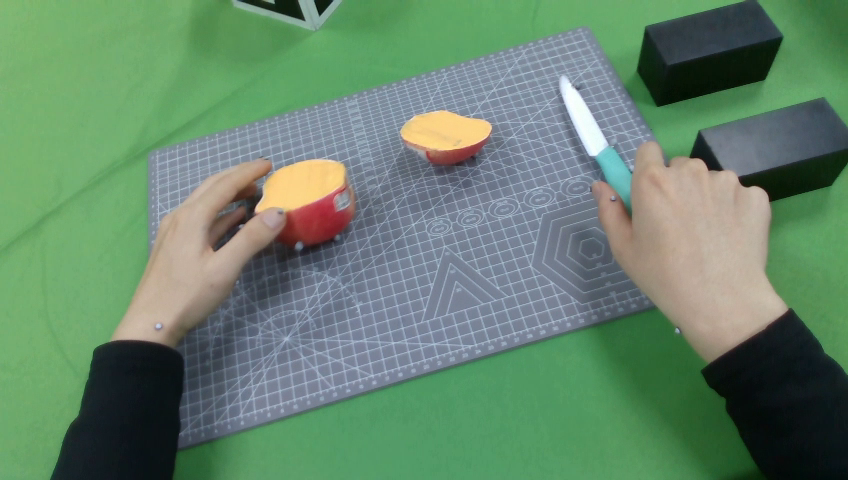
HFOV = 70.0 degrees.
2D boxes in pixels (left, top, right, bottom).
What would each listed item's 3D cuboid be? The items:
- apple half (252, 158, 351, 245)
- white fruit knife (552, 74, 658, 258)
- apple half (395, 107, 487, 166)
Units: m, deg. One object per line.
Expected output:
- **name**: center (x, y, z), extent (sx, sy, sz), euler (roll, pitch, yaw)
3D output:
- **apple half**: center (-0.096, -0.026, 0.499), extent (0.074, 0.054, 0.080), euler (-18, 35, 2)
- **white fruit knife**: center (0.148, -0.073, 0.514), extent (0.027, 0.016, 0.205), euler (-12, 58, -7)
- **apple half**: center (0.013, -0.083, 0.526), extent (0.081, 0.033, 0.080), euler (-3, 39, 3)
